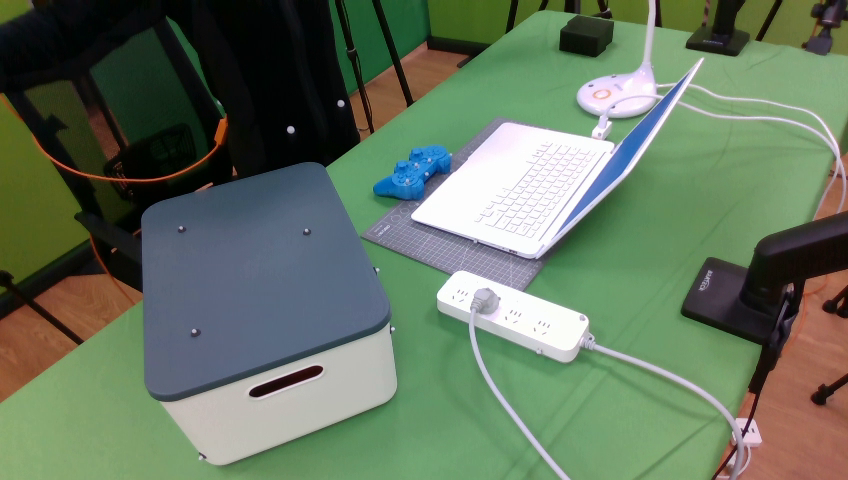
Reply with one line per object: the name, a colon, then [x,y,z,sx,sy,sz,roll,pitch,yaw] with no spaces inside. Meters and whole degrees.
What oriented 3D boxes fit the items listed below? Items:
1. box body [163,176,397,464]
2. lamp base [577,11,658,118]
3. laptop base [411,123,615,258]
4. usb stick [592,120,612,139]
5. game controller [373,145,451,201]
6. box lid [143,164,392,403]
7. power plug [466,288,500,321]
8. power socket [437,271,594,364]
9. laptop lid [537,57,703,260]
box body: [-0.205,0.080,0.802,0.255,0.161,0.361,-18,41,-13]
lamp base: [0.406,-0.363,1.222,0.180,0.181,0.159,-20,42,-18]
laptop base: [0.167,-0.102,1.074,0.234,0.023,0.355,16,45,30]
usb stick: [0.335,-0.203,1.149,0.021,0.027,0.059,26,54,26]
game controller: [-0.018,-0.130,1.111,0.096,0.052,0.155,22,49,26]
box lid: [-0.212,0.025,0.753,0.264,0.015,0.368,-18,40,-13]
power plug: [0.072,0.093,0.813,0.035,0.053,0.073,30,54,35]
power socket: [0.118,0.102,0.830,0.225,0.033,0.072,20,48,28]
laptop lid: [0.304,-0.127,0.928,0.013,0.241,0.357,40,51,4]
